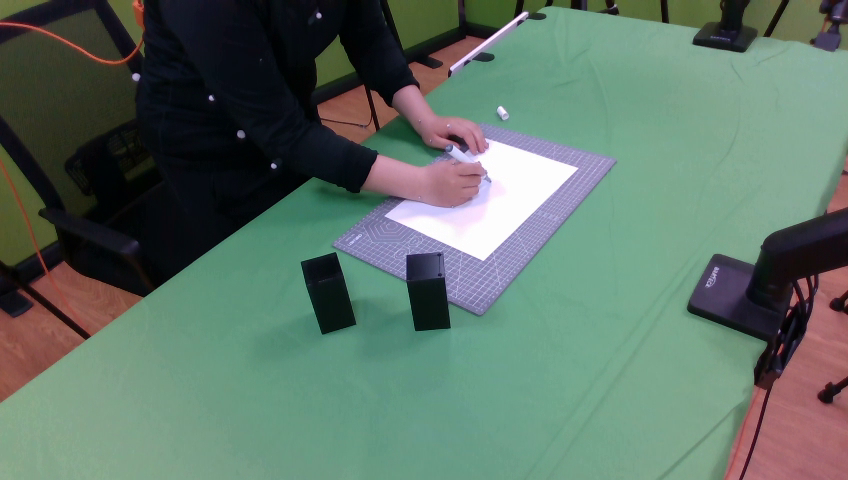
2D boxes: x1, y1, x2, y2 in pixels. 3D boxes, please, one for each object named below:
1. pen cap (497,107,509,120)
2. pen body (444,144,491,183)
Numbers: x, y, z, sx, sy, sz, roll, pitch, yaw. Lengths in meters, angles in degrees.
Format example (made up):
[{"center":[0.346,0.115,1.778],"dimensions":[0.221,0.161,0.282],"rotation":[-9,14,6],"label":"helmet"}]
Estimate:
[{"center":[0.164,-0.264,1.262],"dimensions":[0.017,0.017,0.038],"rotation":[-14,41,-7],"label":"pen cap"},{"center":[0.078,-0.126,1.031],"dimensions":[0.017,0.145,0.017],"rotation":[-15,63,32],"label":"pen body"}]
